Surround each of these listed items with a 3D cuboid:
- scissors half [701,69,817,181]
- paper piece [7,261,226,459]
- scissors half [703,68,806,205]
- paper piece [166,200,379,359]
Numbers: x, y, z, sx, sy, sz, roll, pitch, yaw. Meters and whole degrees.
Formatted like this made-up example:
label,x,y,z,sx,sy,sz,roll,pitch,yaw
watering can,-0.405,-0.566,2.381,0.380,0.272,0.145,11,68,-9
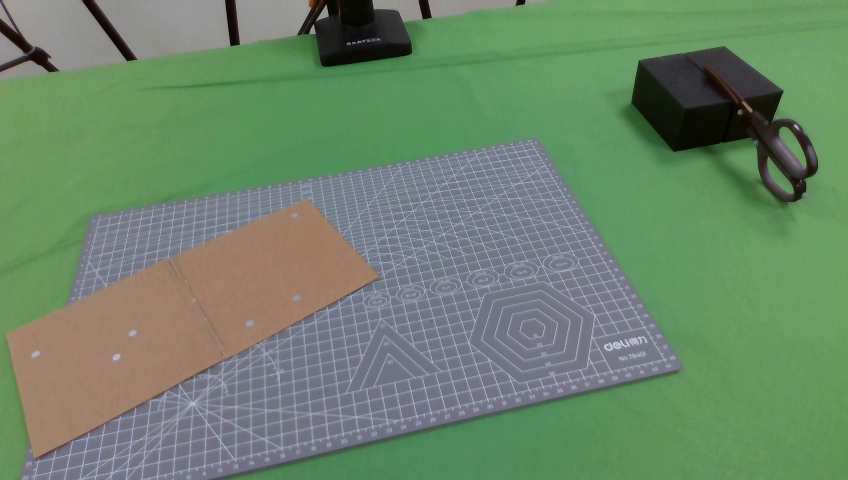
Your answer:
label,x,y,z,sx,sy,sz,roll,pitch,yaw
scissors half,0.301,-0.115,0.558,0.013,0.040,0.173,-18,43,1
paper piece,-0.240,0.081,0.465,0.136,0.004,0.134,-27,47,-22
scissors half,0.305,-0.103,0.574,0.013,0.040,0.173,-15,61,-3
paper piece,-0.131,0.025,0.517,0.138,0.009,0.134,-26,51,-23
